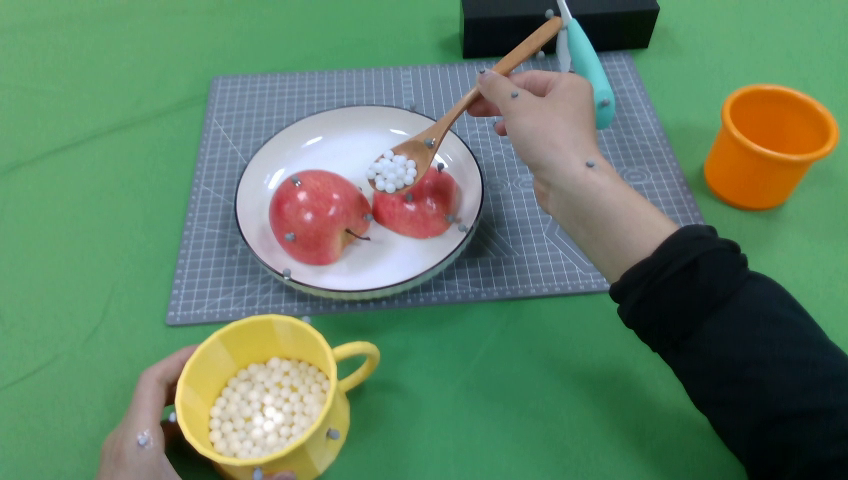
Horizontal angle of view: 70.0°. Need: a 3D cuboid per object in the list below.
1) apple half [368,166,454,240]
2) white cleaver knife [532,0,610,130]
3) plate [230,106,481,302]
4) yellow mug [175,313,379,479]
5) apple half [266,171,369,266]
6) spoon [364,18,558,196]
[{"bbox_3d":[-0.012,-0.041,0.516,0.081,0.033,0.080,1,57,-1],"label":"apple half"},{"bbox_3d":[0.145,-0.208,0.628,0.021,0.066,0.283,-7,50,2],"label":"white cleaver knife"},{"bbox_3d":[-0.056,-0.033,0.519,0.209,0.038,0.207,0,54,0],"label":"plate"},{"bbox_3d":[-0.091,0.102,0.407,0.131,0.064,0.099,-23,57,-17],"label":"yellow mug"},{"bbox_3d":[-0.090,-0.026,0.495,0.074,0.054,0.080,34,61,26],"label":"apple half"},{"bbox_3d":[0.030,-0.103,0.466,0.194,0.022,0.041,-43,64,6],"label":"spoon"}]
